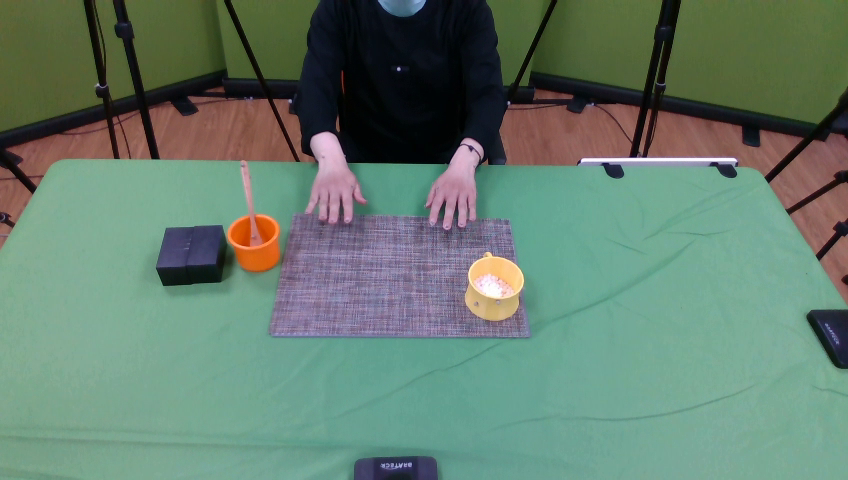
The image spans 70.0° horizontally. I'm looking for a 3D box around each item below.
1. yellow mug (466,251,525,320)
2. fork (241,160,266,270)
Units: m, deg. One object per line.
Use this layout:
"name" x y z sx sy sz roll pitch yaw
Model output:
"yellow mug" 0.125 0.074 1.096 0.100 0.064 0.130 -4 45 -7
"fork" -0.320 -0.047 1.130 0.028 0.018 0.207 -9 91 -2
